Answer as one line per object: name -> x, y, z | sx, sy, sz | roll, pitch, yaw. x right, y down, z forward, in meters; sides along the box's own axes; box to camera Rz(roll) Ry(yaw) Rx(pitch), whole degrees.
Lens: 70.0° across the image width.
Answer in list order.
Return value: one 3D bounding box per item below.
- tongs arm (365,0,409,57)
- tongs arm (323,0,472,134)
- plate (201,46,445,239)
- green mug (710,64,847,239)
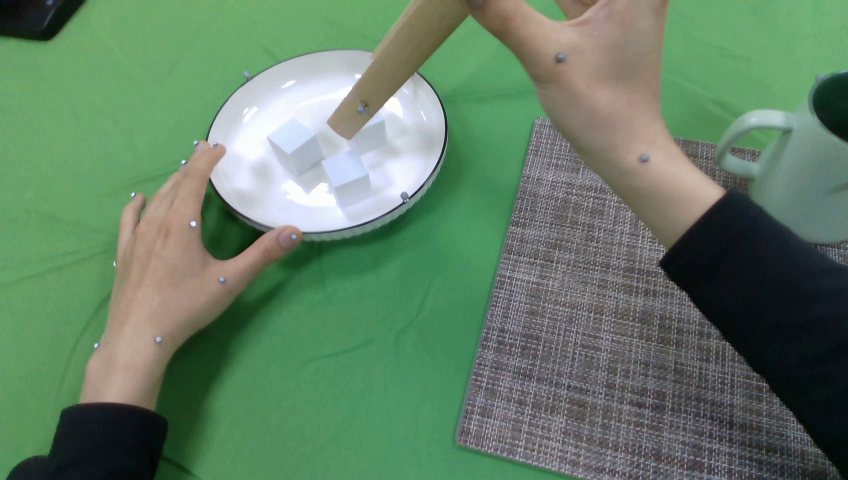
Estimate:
tongs arm -> 0.031, -0.168, 0.339 | 0.027, 0.384, 0.050 | 37, 66, -14
tongs arm -> 0.012, -0.134, 0.325 | 0.028, 0.387, 0.028 | 40, 64, -13
plate -> -0.085, -0.085, 0.528 | 0.209, 0.038, 0.207 | -2, 59, 3
green mug -> 0.278, -0.064, 0.443 | 0.125, 0.106, 0.092 | 10, 60, 10
